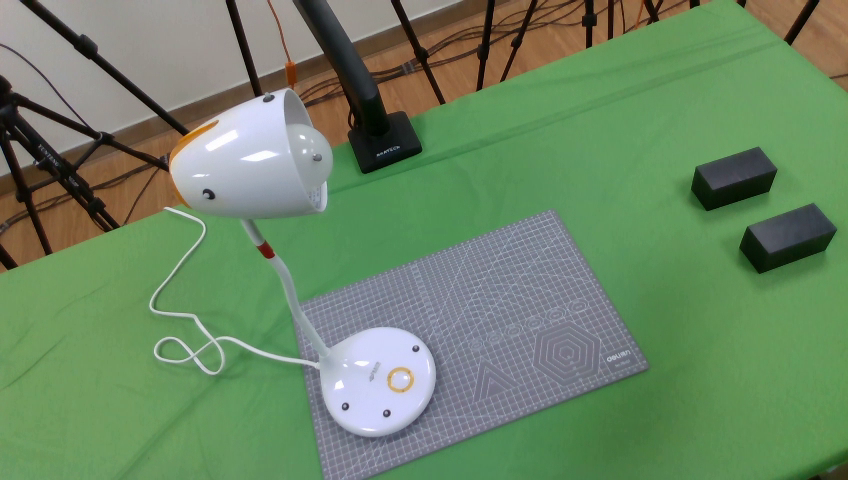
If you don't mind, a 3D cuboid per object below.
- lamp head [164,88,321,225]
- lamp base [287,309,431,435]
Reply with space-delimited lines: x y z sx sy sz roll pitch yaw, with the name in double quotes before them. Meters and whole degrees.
"lamp head" -0.162 -0.064 0.541 0.123 0.113 0.111 -17 53 8
"lamp base" -0.096 0.147 0.785 0.178 0.182 0.159 0 55 17
